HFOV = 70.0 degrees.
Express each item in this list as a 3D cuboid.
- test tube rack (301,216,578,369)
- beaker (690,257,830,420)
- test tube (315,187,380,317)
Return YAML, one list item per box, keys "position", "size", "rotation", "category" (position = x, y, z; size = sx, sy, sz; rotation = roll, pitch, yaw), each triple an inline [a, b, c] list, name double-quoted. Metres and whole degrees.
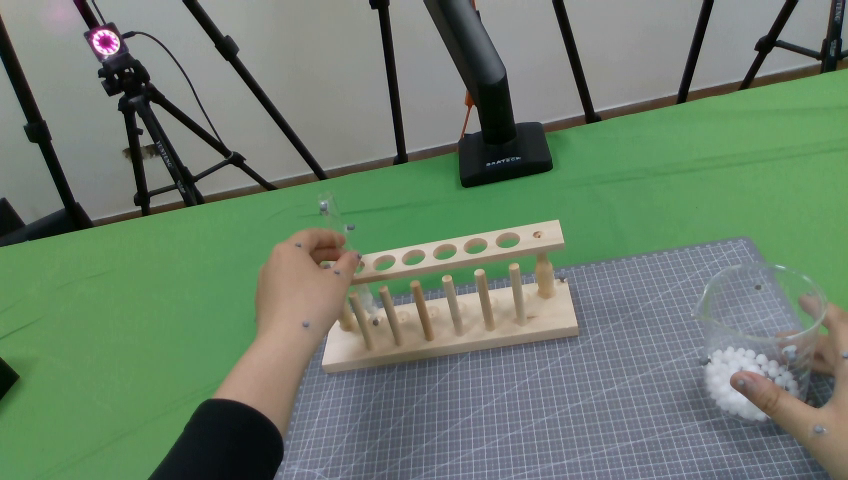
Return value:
- position: [0.013, 0.052, 0.565]
  size: [0.242, 0.086, 0.066]
  rotation: [-10, 37, 10]
  category: "test tube rack"
- position: [0.235, 0.074, 0.434]
  size: [0.084, 0.101, 0.073]
  rotation: [-11, 37, 11]
  category: "beaker"
- position: [-0.068, 0.016, 0.559]
  size: [0.017, 0.152, 0.017]
  rotation: [-11, 37, 9]
  category: "test tube"
